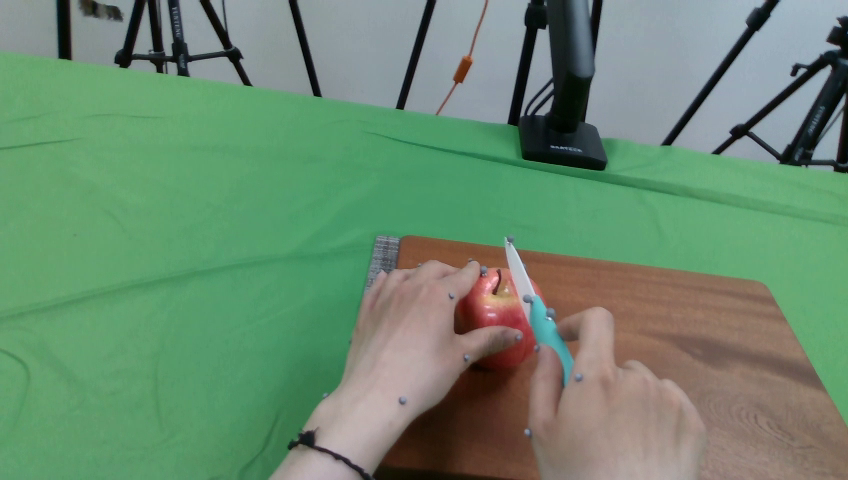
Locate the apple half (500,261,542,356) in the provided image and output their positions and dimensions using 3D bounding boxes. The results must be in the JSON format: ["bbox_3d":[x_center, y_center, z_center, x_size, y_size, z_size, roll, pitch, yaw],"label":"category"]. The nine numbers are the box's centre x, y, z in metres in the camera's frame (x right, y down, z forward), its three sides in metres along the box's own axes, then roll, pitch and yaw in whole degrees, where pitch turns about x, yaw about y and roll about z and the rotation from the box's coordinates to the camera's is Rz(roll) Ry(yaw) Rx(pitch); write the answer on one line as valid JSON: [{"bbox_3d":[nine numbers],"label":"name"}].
[{"bbox_3d":[0.082,0.058,0.513,0.033,0.082,0.080,-7,42,-8],"label":"apple half"}]

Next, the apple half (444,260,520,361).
[{"bbox_3d":[0.044,0.061,0.505,0.053,0.075,0.080,-7,45,-8],"label":"apple half"}]

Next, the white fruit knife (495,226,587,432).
[{"bbox_3d":[0.077,0.048,0.443,0.016,0.027,0.205,5,34,-13],"label":"white fruit knife"}]
